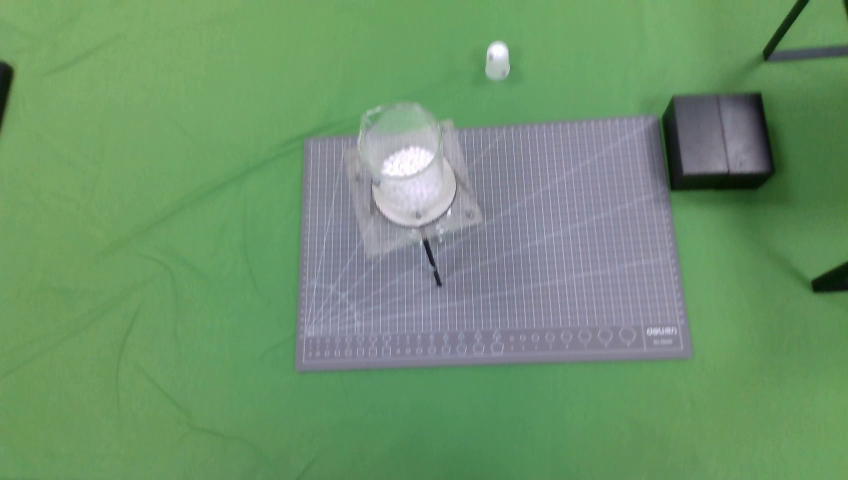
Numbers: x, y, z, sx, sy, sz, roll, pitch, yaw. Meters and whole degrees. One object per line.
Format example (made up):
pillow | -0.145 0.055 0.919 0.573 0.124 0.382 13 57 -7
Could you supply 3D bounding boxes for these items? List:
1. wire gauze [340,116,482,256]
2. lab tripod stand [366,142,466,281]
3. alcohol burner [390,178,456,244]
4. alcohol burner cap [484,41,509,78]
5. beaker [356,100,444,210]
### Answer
wire gauze | -0.015 -0.058 0.617 0.121 0.011 0.124 -16 76 2
lab tripod stand | -0.005 -0.037 0.678 0.148 0.132 0.147 -1 73 3
alcohol burner | -0.003 -0.039 0.689 0.078 0.120 0.077 -2 71 6
alcohol burner cap | 0.094 -0.235 0.781 0.034 0.048 0.033 -2 74 7
beaker | -0.021 -0.076 0.572 0.083 0.101 0.074 38 80 14
